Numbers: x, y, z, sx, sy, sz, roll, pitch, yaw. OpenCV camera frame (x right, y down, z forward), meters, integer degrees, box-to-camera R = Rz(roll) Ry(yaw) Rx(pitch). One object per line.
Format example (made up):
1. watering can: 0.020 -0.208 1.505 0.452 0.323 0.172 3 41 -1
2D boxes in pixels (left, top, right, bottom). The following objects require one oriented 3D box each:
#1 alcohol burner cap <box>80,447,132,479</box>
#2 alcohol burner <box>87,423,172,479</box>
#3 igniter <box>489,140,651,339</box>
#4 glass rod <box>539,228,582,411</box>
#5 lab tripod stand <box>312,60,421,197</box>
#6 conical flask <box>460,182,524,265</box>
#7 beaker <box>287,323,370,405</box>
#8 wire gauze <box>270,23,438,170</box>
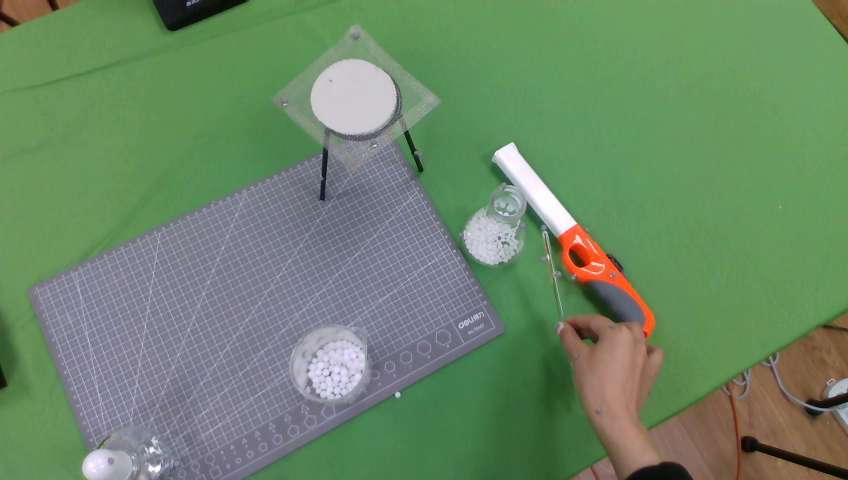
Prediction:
1. alcohol burner cap: -0.288 0.201 0.543 0.034 0.048 0.033 2 63 -3
2. alcohol burner: -0.288 0.214 0.577 0.078 0.120 0.077 1 71 -2
3. igniter: 0.170 -0.004 0.707 0.057 0.025 0.275 -32 77 -22
4. glass rod: 0.146 0.084 0.650 0.008 0.008 0.199 -11 87 -5
5. lab tripod stand: -0.074 -0.122 0.677 0.148 0.132 0.147 1 74 -3
6. conical flask: 0.080 -0.023 0.660 0.075 0.122 0.075 1 73 -1
7. beaker: -0.091 0.127 0.618 0.073 0.101 0.084 41 76 10
8. wire gauze: -0.071 -0.146 0.614 0.121 0.011 0.125 44 77 9
